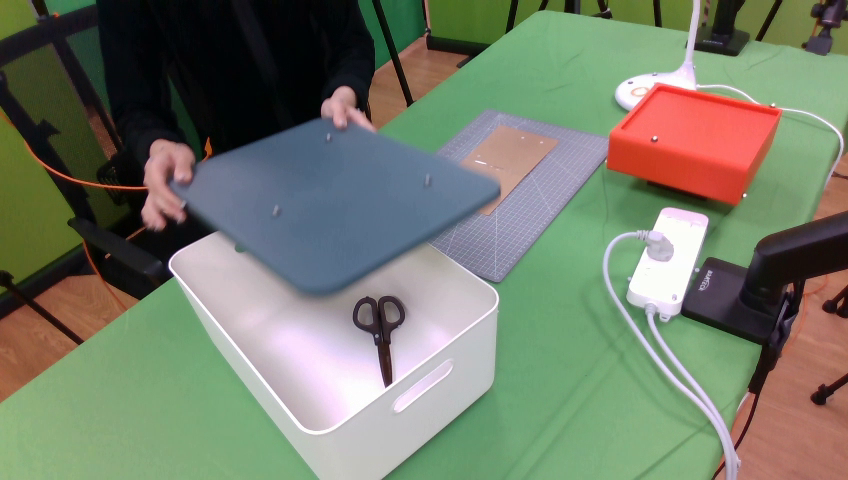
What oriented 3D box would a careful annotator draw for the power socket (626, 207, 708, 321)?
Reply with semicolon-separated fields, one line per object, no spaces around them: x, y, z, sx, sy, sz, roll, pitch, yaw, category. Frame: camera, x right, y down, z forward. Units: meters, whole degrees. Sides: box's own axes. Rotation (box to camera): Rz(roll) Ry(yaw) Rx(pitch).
0.360;0.026;0.886;0.072;0.033;0.227;16;46;26;power socket

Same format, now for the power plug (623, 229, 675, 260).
0.327;0.007;0.878;0.072;0.053;0.035;25;51;33;power plug

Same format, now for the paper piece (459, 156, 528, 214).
0.095;-0.103;1.089;0.134;0.004;0.136;23;48;30;paper piece

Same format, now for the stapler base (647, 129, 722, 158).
0.439;-0.167;1.023;0.131;0.024;0.041;-17;25;-15;stapler base

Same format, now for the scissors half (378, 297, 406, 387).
-0.045;0.142;0.818;0.040;0.013;0.174;4;41;-5;scissors half

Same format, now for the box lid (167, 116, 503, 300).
-0.119;-0.064;0.715;0.264;0.015;0.368;-30;40;-30;box lid

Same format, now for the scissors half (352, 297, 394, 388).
-0.065;0.143;0.815;0.040;0.013;0.174;-12;43;-14;scissors half

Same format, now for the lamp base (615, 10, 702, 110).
0.484;-0.364;1.211;0.180;0.181;0.159;-15;41;-14;lamp base

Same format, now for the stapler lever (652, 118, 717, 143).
0.436;-0.192;1.014;0.118;0.040;0.026;-15;24;-16;stapler lever

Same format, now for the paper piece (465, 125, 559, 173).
0.171;-0.177;1.167;0.137;0.009;0.136;21;44;30;paper piece

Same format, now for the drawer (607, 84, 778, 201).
0.438;-0.167;0.995;0.210;0.073;0.195;23;48;30;drawer

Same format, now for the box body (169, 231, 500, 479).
-0.110;0.103;0.761;0.255;0.161;0.361;-33;46;-27;box body

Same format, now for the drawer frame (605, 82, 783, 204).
0.441;-0.167;0.995;0.212;0.083;0.202;23;48;29;drawer frame
